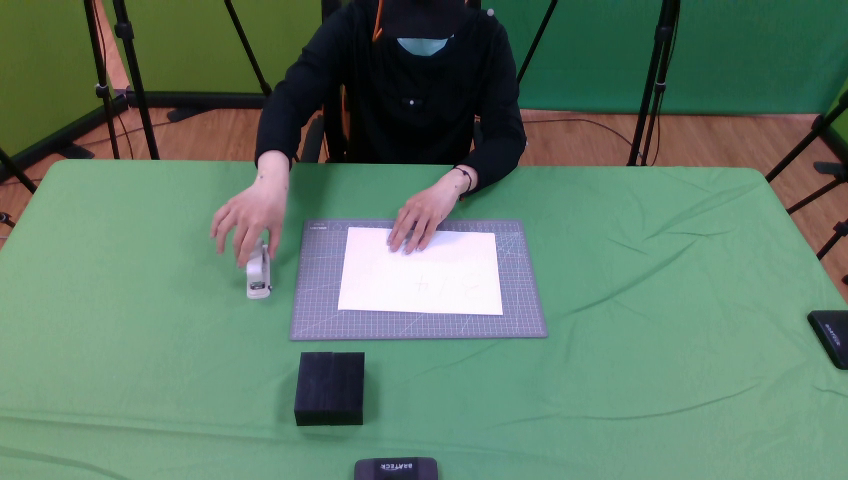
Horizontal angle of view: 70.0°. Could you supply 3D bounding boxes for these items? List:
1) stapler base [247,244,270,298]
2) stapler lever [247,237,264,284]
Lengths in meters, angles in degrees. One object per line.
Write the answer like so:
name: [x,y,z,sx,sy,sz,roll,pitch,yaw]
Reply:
stapler base: [-0.308,0.050,1.123,0.041,0.024,0.129,-4,45,-12]
stapler lever: [-0.307,0.031,1.106,0.027,0.040,0.117,-4,45,-11]
